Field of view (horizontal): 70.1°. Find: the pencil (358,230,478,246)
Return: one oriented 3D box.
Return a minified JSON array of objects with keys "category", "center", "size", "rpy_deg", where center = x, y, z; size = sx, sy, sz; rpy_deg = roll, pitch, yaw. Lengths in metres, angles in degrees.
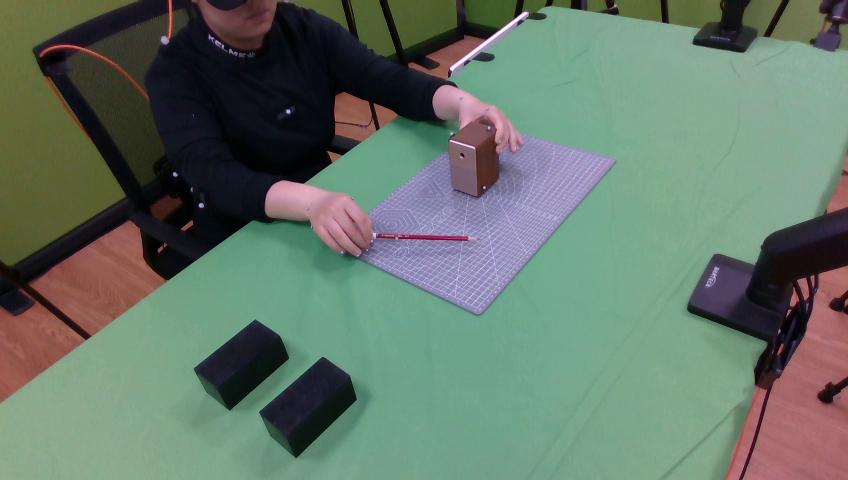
[{"category":"pencil","center":[-0.010,-0.002,0.955],"size":[0.194,0.012,0.012],"rpy_deg":[6,41,7]}]

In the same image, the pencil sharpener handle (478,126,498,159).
[{"category":"pencil sharpener handle","center":[0.119,-0.178,1.074],"size":[0.035,0.068,0.031],"rpy_deg":[21,47,31]}]

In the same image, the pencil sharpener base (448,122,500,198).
[{"category":"pencil sharpener base","center":[0.090,-0.140,1.052],"size":[0.061,0.107,0.077],"rpy_deg":[21,47,31]}]
